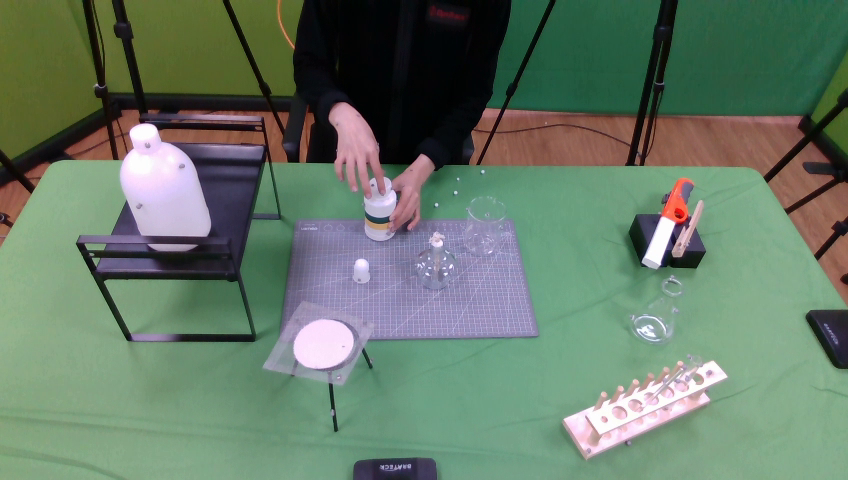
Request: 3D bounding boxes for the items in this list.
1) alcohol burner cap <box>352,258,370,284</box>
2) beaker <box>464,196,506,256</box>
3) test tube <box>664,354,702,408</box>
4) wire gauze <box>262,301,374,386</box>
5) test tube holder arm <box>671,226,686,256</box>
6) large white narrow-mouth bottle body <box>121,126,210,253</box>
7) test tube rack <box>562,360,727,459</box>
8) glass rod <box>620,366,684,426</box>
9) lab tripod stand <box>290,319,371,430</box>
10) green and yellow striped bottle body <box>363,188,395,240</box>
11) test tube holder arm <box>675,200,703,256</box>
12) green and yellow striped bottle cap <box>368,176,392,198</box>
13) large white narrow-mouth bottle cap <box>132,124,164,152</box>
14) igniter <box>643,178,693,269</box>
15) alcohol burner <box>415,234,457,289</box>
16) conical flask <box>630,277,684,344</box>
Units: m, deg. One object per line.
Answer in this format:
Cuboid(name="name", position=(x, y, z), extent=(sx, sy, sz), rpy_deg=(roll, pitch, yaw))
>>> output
Cuboid(name="alcohol burner cap", position=(-0.117, 0.055, 1.118), extent=(0.034, 0.048, 0.033), rpy_deg=(2, 46, -2))
Cuboid(name="beaker", position=(0.117, -0.026, 1.174), extent=(0.074, 0.101, 0.083), rpy_deg=(21, 48, 15))
Cuboid(name="test tube", position=(0.385, 0.215, 0.906), extent=(0.017, 0.151, 0.017), rpy_deg=(-1, 49, 1))
Cuboid(name="wire gauze", position=(-0.150, 0.148, 0.873), extent=(0.121, 0.011, 0.124), rpy_deg=(14, 46, 12))
Cuboid(name="test tube holder arm", position=(0.494, 0.001, 1.167), extent=(0.010, 0.015, 0.087), rpy_deg=(1, 36, 42))
Cuboid(name="large white narrow-mouth bottle body", position=(-0.378, -0.077, 0.875), extent=(0.102, 0.195, 0.101), rpy_deg=(3, 46, -3))
Cuboid(name="test tube rack", position=(0.341, 0.247, 0.940), extent=(0.243, 0.085, 0.066), rpy_deg=(-16, 49, -18))
Cuboid(name="glass rod", position=(0.322, 0.227, 0.866), extent=(0.008, 0.200, 0.008), rpy_deg=(6, 51, -7))
Cuboid(name="lab tripod stand", position=(-0.146, 0.193, 0.923), extent=(0.148, 0.132, 0.147), rpy_deg=(1, 47, -1))
Cuboid(name="green and yellow striped bottle body", position=(-0.087, -0.061, 1.178), extent=(0.063, 0.120, 0.063), rpy_deg=(2, 46, -2))
Cuboid(name="test tube holder arm", position=(0.523, -0.025, 1.190), extent=(0.013, 0.015, 0.178), rpy_deg=(1, 36, 41))
Cuboid(name="green and yellow striped bottle cap", position=(-0.083, -0.100, 1.135), extent=(0.045, 0.020, 0.045), rpy_deg=(0, 45, 1))
Cuboid(name="large white narrow-mouth bottle cap", position=(-0.371, -0.137, 0.813), extent=(0.038, 0.024, 0.037), rpy_deg=(3, 46, -3))
Cuboid(name="igniter", position=(0.488, -0.042, 1.205), extent=(0.057, 0.025, 0.276), rpy_deg=(30, 51, 11))
Cuboid(name="alcohol burner", position=(0.022, 0.033, 1.099), extent=(0.078, 0.120, 0.077), rpy_deg=(1, 47, -1))
Cuboid(name="conical flask", position=(0.408, 0.117, 1.045), extent=(0.075, 0.122, 0.075), rpy_deg=(2, 46, -2))
